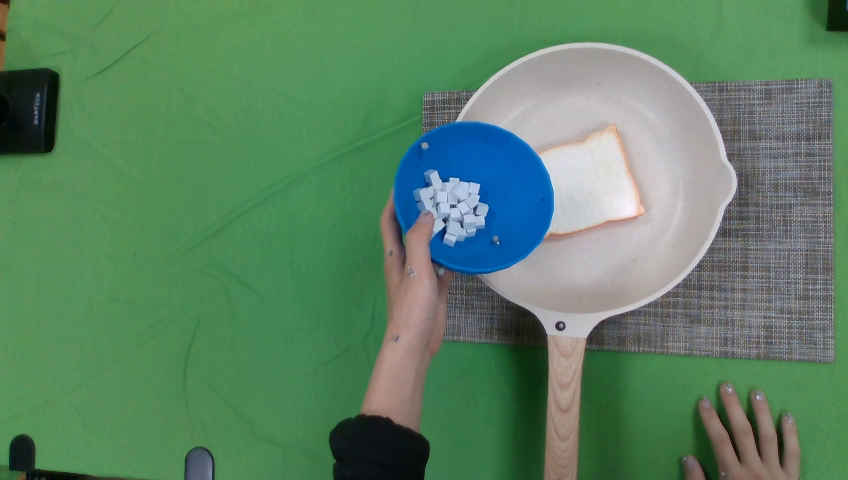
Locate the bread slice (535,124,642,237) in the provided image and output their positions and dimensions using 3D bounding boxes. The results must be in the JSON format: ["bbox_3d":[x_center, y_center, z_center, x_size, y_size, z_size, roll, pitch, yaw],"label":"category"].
[{"bbox_3d":[0.166,-0.057,0.684,0.134,0.018,0.106,-20,81,8],"label":"bread slice"}]

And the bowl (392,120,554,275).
[{"bbox_3d":[0.041,-0.030,0.585,0.152,0.077,0.150,2,72,-7],"label":"bowl"}]

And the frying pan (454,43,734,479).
[{"bbox_3d":[0.152,0.039,0.638,0.306,0.103,0.485,4,77,14],"label":"frying pan"}]
